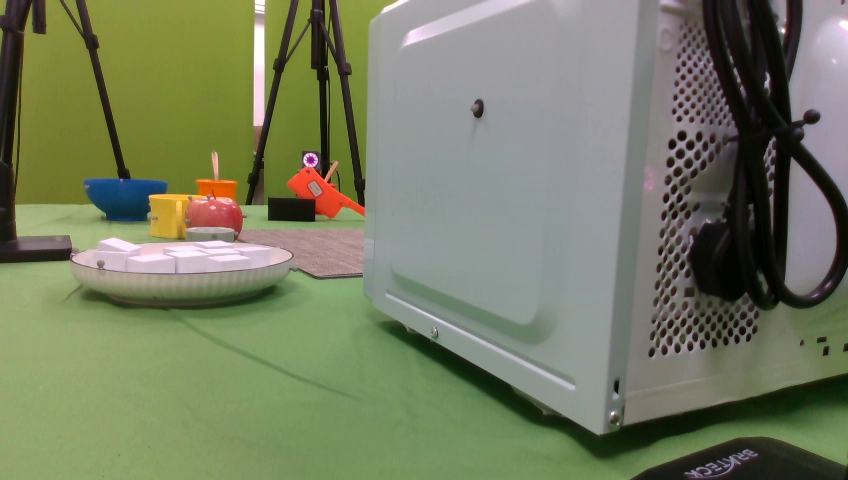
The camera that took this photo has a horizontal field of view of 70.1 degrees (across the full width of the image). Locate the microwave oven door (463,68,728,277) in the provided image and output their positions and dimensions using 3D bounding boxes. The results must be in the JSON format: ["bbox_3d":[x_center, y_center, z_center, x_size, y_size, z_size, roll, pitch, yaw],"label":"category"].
[{"bbox_3d":[0.205,-0.096,0.812,0.354,0.243,0.039,9,10,41],"label":"microwave oven door"}]

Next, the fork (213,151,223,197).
[{"bbox_3d":[-0.494,-0.143,1.442,0.028,0.018,0.206,-2,52,-20],"label":"fork"}]

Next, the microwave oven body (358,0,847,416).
[{"bbox_3d":[0.211,-0.047,0.475,0.444,0.260,0.324,-1,7,-28],"label":"microwave oven body"}]

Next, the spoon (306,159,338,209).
[{"bbox_3d":[-0.257,-0.147,1.567,0.041,0.022,0.193,2,51,19],"label":"spoon"}]

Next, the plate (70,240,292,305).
[{"bbox_3d":[-0.242,0.031,0.618,0.208,0.039,0.207,2,8,0],"label":"plate"}]

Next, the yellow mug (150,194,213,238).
[{"bbox_3d":[-0.401,-0.040,1.003,0.100,0.064,0.130,-1,9,-20],"label":"yellow mug"}]

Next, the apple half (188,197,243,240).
[{"bbox_3d":[-0.305,-0.026,0.907,0.053,0.074,0.081,12,8,31],"label":"apple half"}]

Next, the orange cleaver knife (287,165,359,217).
[{"bbox_3d":[-0.211,-0.093,1.382,0.212,0.077,0.012,33,1,-15],"label":"orange cleaver knife"}]

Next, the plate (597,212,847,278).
[{"bbox_3d":[0.255,0.002,0.519,0.209,0.038,0.209,2,7,0],"label":"plate"}]

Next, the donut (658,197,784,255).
[{"bbox_3d":[0.252,-0.012,0.518,0.099,0.048,0.099,0,9,0],"label":"donut"}]

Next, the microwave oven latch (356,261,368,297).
[{"bbox_3d":[-0.020,0.033,0.531,0.079,0.029,0.030,-1,7,-27],"label":"microwave oven latch"}]

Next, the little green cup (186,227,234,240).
[{"bbox_3d":[-0.284,0.005,0.805,0.061,0.038,0.061,2,8,0],"label":"little green cup"}]

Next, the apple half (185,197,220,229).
[{"bbox_3d":[-0.338,-0.031,0.927,0.032,0.081,0.081,12,12,31],"label":"apple half"}]

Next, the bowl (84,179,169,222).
[{"bbox_3d":[-0.584,-0.078,1.194,0.151,0.077,0.151,3,8,0],"label":"bowl"}]
